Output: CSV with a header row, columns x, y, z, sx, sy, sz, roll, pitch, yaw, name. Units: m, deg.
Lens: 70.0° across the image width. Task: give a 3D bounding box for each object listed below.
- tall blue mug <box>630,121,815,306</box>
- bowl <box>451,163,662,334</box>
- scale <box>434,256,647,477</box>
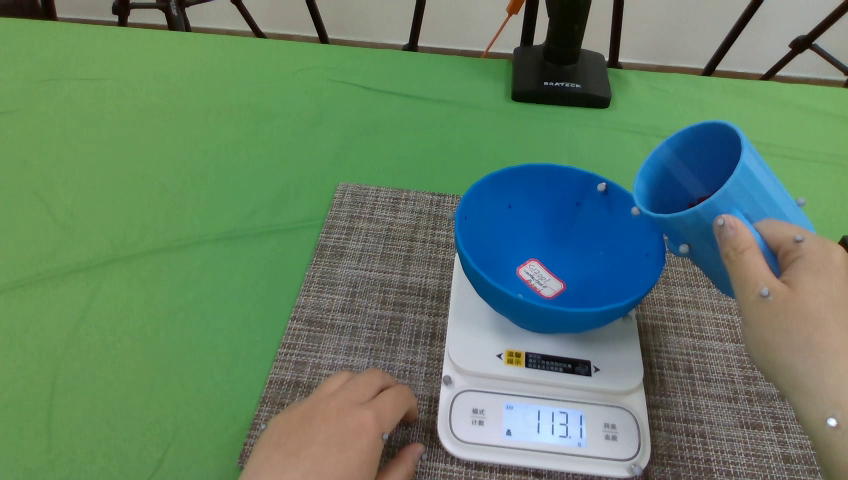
x,y,z,sx,sy,sz,roll,pitch,yaw,name
0.209,-0.013,0.399,0.078,0.109,0.106,-54,27,-2,tall blue mug
0.092,0.018,0.457,0.151,0.077,0.150,2,46,-2,bowl
0.090,0.078,0.474,0.148,0.032,0.199,6,46,3,scale
